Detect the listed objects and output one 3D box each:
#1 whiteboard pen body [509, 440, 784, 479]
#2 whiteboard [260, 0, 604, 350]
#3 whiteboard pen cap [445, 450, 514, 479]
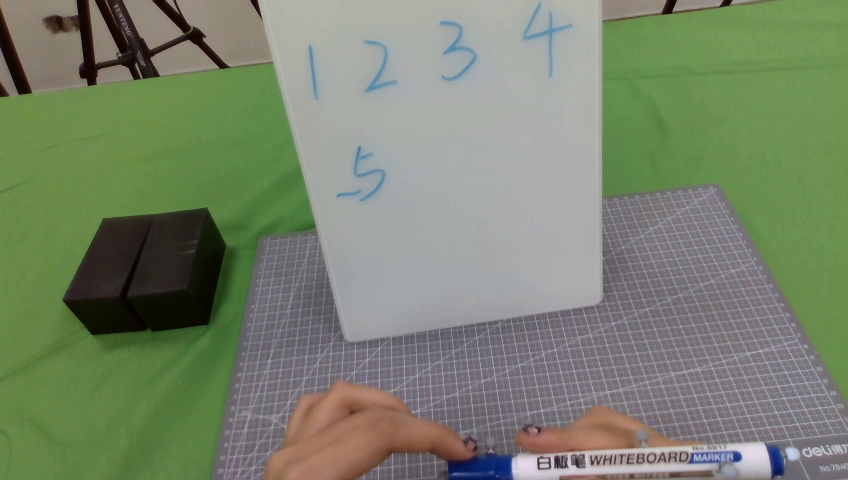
[{"bbox_3d":[0.087,0.103,0.278,0.140,0.017,0.017,-8,45,15],"label":"whiteboard pen body"},{"bbox_3d":[0.017,-0.091,0.488,0.217,0.308,0.142,-8,27,1],"label":"whiteboard"},{"bbox_3d":[0.028,0.112,0.294,0.033,0.018,0.018,-8,45,16],"label":"whiteboard pen cap"}]
